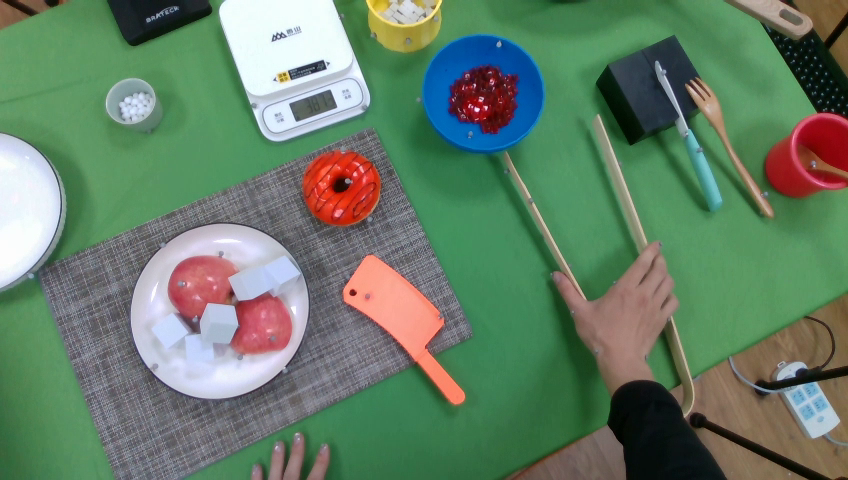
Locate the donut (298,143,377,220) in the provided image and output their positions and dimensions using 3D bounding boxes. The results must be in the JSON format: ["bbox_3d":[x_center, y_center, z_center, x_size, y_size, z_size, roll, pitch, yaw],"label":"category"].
[{"bbox_3d":[-0.108,-0.073,0.753,0.099,0.048,0.098,0,81,-1],"label":"donut"}]

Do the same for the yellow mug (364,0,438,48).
[{"bbox_3d":[-0.044,-0.322,0.793,0.130,0.064,0.100,31,80,4],"label":"yellow mug"}]

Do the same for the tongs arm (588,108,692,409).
[{"bbox_3d":[0.267,0.017,0.760,0.028,0.028,0.386,-15,84,-8],"label":"tongs arm"}]

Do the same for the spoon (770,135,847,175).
[{"bbox_3d":[0.506,-0.084,0.734,0.041,0.022,0.191,-30,38,-8],"label":"spoon"}]

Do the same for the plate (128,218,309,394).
[{"bbox_3d":[-0.241,0.077,0.725,0.209,0.038,0.208,0,80,-2],"label":"plate"}]

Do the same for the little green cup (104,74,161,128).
[{"bbox_3d":[-0.367,-0.173,0.768,0.061,0.039,0.061,0,79,-2],"label":"little green cup"}]

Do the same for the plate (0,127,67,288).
[{"bbox_3d":[-0.537,-0.036,0.736,0.208,0.039,0.207,0,80,-2],"label":"plate"}]

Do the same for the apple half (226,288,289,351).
[{"bbox_3d":[-0.202,0.094,0.716,0.081,0.033,0.081,0,82,1],"label":"apple half"}]

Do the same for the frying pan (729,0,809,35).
[{"bbox_3d":[0.279,-0.401,0.801,0.485,0.103,0.306,36,81,12],"label":"frying pan"}]

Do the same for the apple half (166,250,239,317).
[{"bbox_3d":[-0.264,0.048,0.713,0.074,0.053,0.080,19,79,4],"label":"apple half"}]

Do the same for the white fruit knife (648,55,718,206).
[{"bbox_3d":[0.328,-0.138,0.769,0.016,0.027,0.208,-27,96,-6],"label":"white fruit knife"}]

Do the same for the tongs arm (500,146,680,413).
[{"bbox_3d":[0.203,0.044,0.755,0.051,0.026,0.383,-25,84,-6],"label":"tongs arm"}]

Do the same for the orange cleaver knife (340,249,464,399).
[{"bbox_3d":[-0.016,0.100,0.739,0.077,0.012,0.211,-43,83,-13],"label":"orange cleaver knife"}]

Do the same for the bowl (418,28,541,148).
[{"bbox_3d":[0.066,-0.179,0.766,0.151,0.077,0.151,0,80,-2],"label":"bowl"}]

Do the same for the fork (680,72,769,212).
[{"bbox_3d":[0.389,-0.124,0.777,0.028,0.018,0.208,-35,98,-10],"label":"fork"}]

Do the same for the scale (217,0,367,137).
[{"bbox_3d":[-0.173,-0.246,0.792,0.149,0.031,0.200,-21,82,-5],"label":"scale"}]
